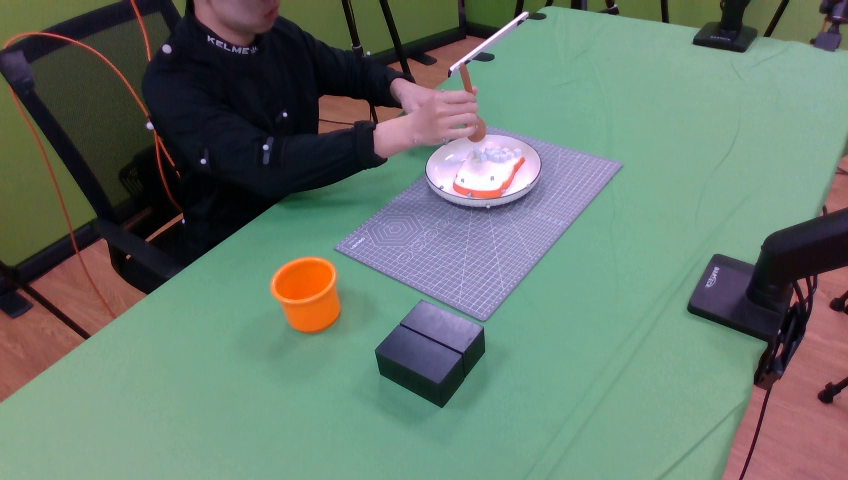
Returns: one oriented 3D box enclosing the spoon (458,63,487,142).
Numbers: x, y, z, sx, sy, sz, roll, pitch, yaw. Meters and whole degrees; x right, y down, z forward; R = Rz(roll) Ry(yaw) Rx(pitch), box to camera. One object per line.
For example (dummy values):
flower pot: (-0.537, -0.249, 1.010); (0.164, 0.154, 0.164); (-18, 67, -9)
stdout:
spoon: (0.081, -0.231, 1.030); (0.041, 0.195, 0.021); (-28, 62, -2)

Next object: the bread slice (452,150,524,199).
bread slice: (0.111, -0.119, 1.079); (0.104, 0.019, 0.131); (12, 43, 21)

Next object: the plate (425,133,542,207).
plate: (0.106, -0.121, 1.079); (0.209, 0.038, 0.208); (-4, 41, 4)
